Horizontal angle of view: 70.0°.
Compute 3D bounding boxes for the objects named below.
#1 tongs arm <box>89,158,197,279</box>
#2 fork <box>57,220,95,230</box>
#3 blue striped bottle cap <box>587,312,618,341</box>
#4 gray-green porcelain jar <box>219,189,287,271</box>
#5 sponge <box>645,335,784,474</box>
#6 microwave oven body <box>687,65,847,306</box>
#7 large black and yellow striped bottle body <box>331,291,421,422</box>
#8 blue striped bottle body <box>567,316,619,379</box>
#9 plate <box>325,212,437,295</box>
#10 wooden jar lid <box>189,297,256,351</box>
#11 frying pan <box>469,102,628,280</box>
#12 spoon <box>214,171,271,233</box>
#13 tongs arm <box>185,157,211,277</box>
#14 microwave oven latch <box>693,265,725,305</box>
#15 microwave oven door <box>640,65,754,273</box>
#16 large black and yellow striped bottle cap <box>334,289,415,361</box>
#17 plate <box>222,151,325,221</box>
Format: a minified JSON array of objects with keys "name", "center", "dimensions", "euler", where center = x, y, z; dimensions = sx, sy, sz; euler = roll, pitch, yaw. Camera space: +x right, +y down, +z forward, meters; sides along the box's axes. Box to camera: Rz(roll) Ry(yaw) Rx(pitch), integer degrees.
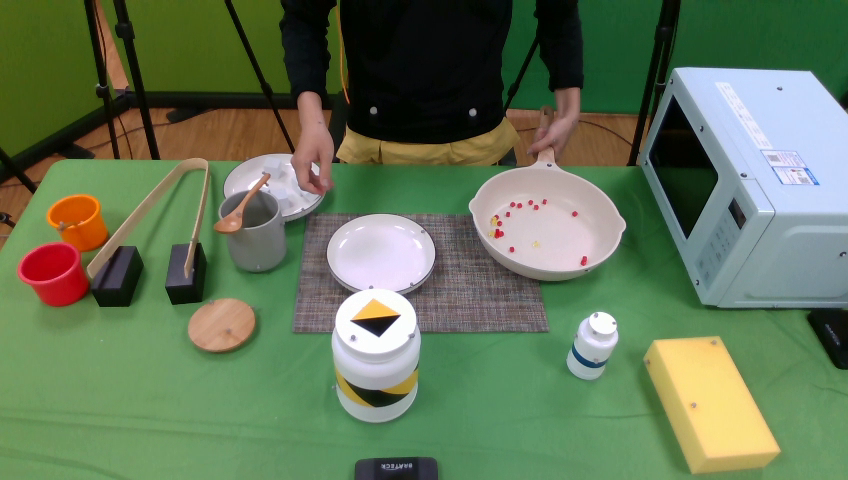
[{"name":"tongs arm","center":[-0.530,-0.057,1.164],"dimensions":[0.028,0.028,0.385],"euler":[0,36,8]},{"name":"fork","center":[-0.624,-0.027,1.086],"dimensions":[0.028,0.207,0.018],"euler":[-2,92,-17]},{"name":"blue striped bottle cap","center":[0.279,0.134,0.946],"dimensions":[0.044,0.021,0.044],"euler":[2,45,-2]},{"name":"gray-green porcelain jar","center":[-0.310,-0.014,1.113],"dimensions":[0.106,0.127,0.105],"euler":[2,46,-2]},{"name":"sponge","center":[0.449,0.253,0.956],"dimensions":[0.118,0.061,0.205],"euler":[-4,46,-7]},{"name":"microwave oven body","center":[0.669,-0.111,1.176],"dimensions":[0.326,0.261,0.439],"euler":[0,46,-3]},{"name":"large black and yellow striped bottle body","center":[-0.071,0.175,0.911],"dimensions":[0.131,0.185,0.130],"euler":[2,47,-2]},{"name":"blue striped bottle body","center":[0.276,0.168,0.984],"dimensions":[0.063,0.121,0.062],"euler":[2,46,-2]},{"name":"plate","center":[-0.080,0.030,1.143],"dimensions":[0.209,0.038,0.208],"euler":[2,46,-2]},{"name":"wooden jar lid","center":[-0.342,0.145,1.033],"dimensions":[0.108,0.021,0.107],"euler":[2,45,-2]},{"name":"frying pan","center":[0.256,-0.117,1.257],"dimensions":[0.307,0.103,0.485],"euler":[9,56,4]},{"name":"spoon","center":[-0.312,-0.070,1.070],"dimensions":[0.041,0.022,0.193],"euler":[7,43,12]},{"name":"tongs arm","center":[-0.446,-0.058,1.168],"dimensions":[0.051,0.026,0.382],"euler":[-5,37,-6]},{"name":"microwave oven latch","center":[0.523,0.082,1.116],"dimensions":[0.030,0.029,0.078],"euler":[2,46,-1]},{"name":"microwave oven door","center":[0.523,-0.147,1.193],"dimensions":[0.039,0.245,0.353],"euler":[0,47,-3]},{"name":"large black and yellow striped bottle cap","center":[-0.069,0.117,0.850],"dimensions":[0.115,0.019,0.114],"euler":[2,45,-2]},{"name":"plate","center":[-0.310,-0.106,1.262],"dimensions":[0.208,0.039,0.206],"euler":[2,47,-2]}]
